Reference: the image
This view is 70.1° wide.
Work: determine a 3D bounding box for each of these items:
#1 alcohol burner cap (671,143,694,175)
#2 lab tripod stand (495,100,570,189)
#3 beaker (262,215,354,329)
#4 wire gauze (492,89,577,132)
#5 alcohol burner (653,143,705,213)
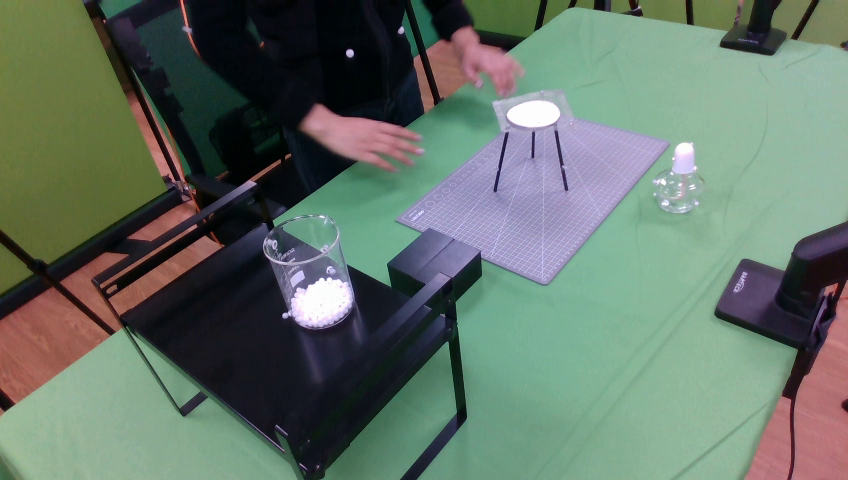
[{"bbox_3d":[0.403,-0.129,0.941,0.034,0.048,0.033,-9,40,8],"label":"alcohol burner cap"},{"bbox_3d":[0.186,-0.161,1.043,0.148,0.132,0.147,-4,43,5],"label":"lab tripod stand"},{"bbox_3d":[-0.112,0.034,0.616,0.073,0.101,0.084,13,44,23],"label":"beaker"},{"bbox_3d":[0.181,-0.213,1.002,0.125,0.011,0.121,-5,41,3],"label":"wire gauze"},{"bbox_3d":[0.408,-0.102,0.963,0.078,0.119,0.077,-5,42,5],"label":"alcohol burner"}]
